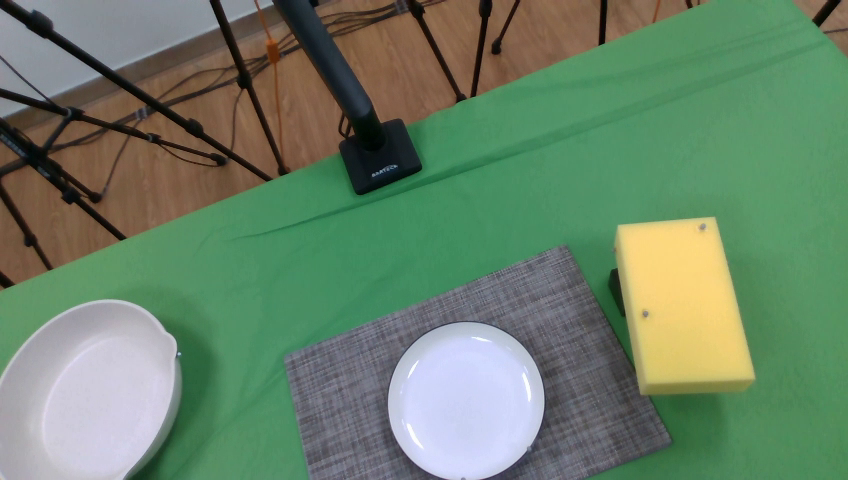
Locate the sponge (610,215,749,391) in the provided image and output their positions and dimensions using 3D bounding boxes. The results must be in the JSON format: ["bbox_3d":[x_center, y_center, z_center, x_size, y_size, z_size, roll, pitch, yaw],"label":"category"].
[{"bbox_3d":[0.306,0.076,0.745,0.118,0.061,0.205,-6,62,9],"label":"sponge"}]

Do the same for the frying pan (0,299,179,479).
[{"bbox_3d":[-0.444,0.303,0.820,0.307,0.104,0.482,-29,53,-2],"label":"frying pan"}]

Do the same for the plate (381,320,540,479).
[{"bbox_3d":[0.048,0.210,0.798,0.207,0.039,0.206,-5,63,9],"label":"plate"}]
